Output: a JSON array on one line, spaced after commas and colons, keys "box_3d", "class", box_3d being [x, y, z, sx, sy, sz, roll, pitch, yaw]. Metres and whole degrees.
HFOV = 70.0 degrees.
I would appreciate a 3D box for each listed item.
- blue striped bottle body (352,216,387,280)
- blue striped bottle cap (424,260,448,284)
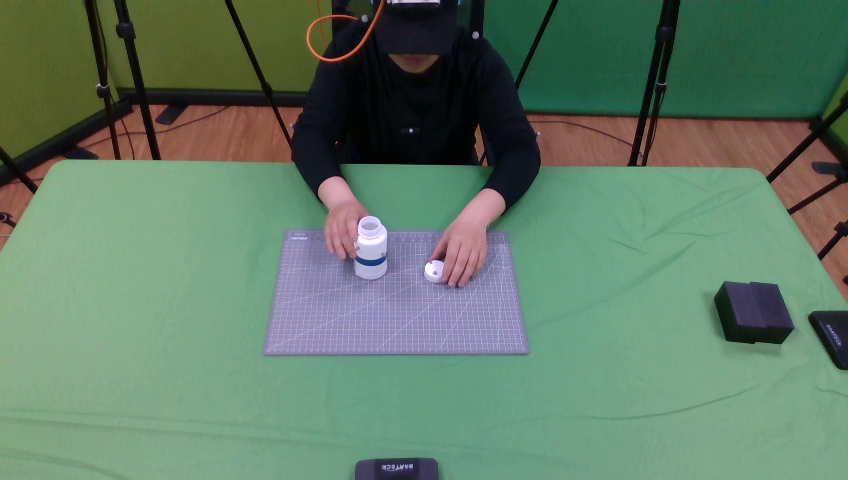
[{"box_3d": [-0.100, 0.012, 1.107, 0.063, 0.121, 0.062, 2, 45, -2], "class": "blue striped bottle body"}, {"box_3d": [0.023, 0.060, 1.146, 0.044, 0.021, 0.044, 1, 47, -1], "class": "blue striped bottle cap"}]
